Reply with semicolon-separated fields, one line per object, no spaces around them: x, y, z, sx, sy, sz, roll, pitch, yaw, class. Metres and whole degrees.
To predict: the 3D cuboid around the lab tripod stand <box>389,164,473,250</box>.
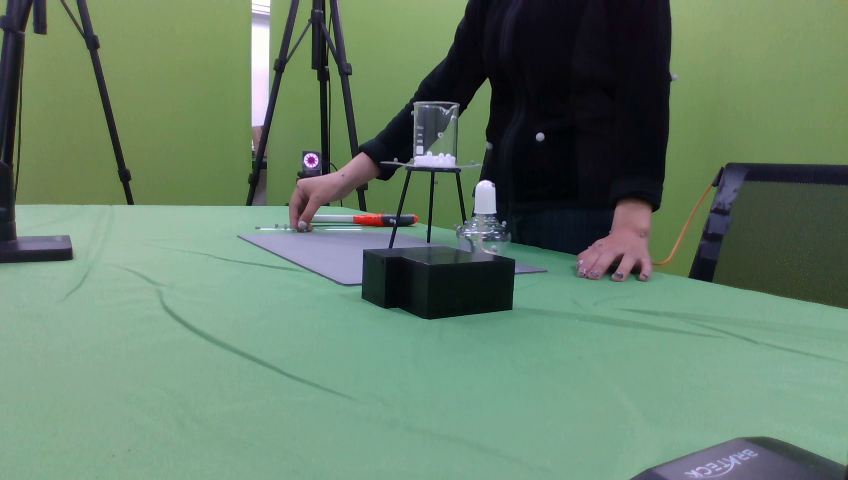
0.011;-0.054;0.960;0.148;0.131;0.148;2;9;0;lab tripod stand

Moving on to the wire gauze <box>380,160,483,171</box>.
0.011;-0.119;0.951;0.122;0.011;0.124;-5;12;-32;wire gauze

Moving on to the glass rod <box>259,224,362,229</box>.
-0.209;-0.026;1.135;0.201;0.008;0.008;-2;8;-29;glass rod

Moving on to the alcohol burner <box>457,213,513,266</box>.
0.084;-0.025;0.837;0.078;0.119;0.078;0;8;0;alcohol burner

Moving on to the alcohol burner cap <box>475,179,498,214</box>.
0.086;-0.061;0.833;0.034;0.048;0.034;-1;11;0;alcohol burner cap

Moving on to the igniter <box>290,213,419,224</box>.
-0.143;-0.046;1.288;0.278;0.025;0.057;-1;-3;-24;igniter

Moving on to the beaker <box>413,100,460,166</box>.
0.020;-0.167;0.953;0.073;0.100;0.084;6;9;26;beaker
